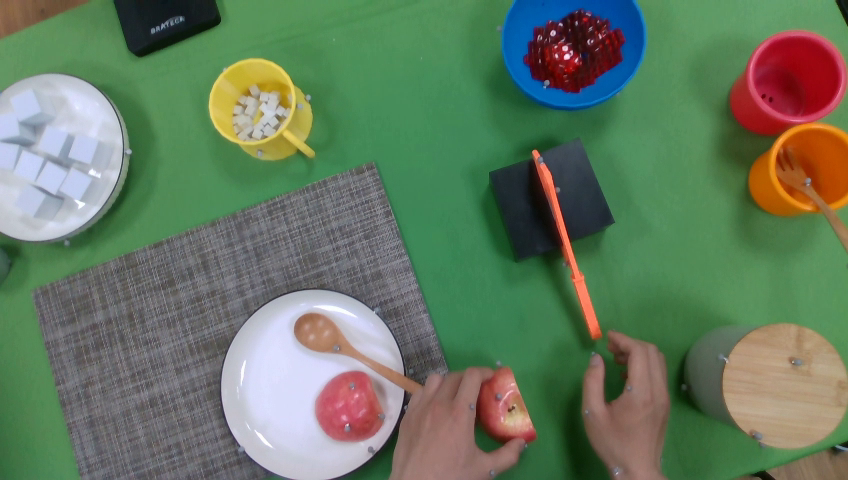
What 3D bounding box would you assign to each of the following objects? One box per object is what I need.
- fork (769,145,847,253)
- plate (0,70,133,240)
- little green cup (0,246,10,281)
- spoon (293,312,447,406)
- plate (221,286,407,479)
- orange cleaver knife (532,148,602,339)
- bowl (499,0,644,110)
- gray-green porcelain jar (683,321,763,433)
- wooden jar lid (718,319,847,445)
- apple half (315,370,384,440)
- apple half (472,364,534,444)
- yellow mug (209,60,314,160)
[{"bbox_3d":[0.388,-0.032,0.593,0.028,0.019,0.205,-3,40,4],"label":"fork"},{"bbox_3d":[-0.451,-0.101,0.741,0.207,0.039,0.207,-1,84,6],"label":"plate"},{"bbox_3d":[-0.540,0.028,0.734,0.061,0.039,0.061,0,84,4],"label":"little green cup"},{"bbox_3d":[-0.061,0.132,0.660,0.192,0.022,0.041,25,71,20],"label":"spoon"},{"bbox_3d":[-0.121,0.156,0.677,0.209,0.038,0.208,-1,84,6],"label":"plate"},{"bbox_3d":[0.152,0.004,0.647,0.012,0.077,0.212,-19,106,7],"label":"orange cleaver knife"},{"bbox_3d":[0.158,-0.208,0.671,0.151,0.077,0.151,-1,84,6],"label":"bowl"},{"bbox_3d":[0.321,0.133,0.595,0.106,0.127,0.105,-1,83,6],"label":"gray-green porcelain jar"},{"bbox_3d":[0.313,0.124,0.533,0.108,0.021,0.108,0,86,5],"label":"wooden jar lid"},{"bbox_3d":[-0.086,0.184,0.664,0.081,0.033,0.081,-1,81,7],"label":"apple half"},{"bbox_3d":[0.077,0.176,0.638,0.053,0.075,0.080,-20,87,-2],"label":"apple half"},{"bbox_3d":[-0.177,-0.140,0.704,0.130,0.064,0.100,41,89,7],"label":"yellow mug"}]
